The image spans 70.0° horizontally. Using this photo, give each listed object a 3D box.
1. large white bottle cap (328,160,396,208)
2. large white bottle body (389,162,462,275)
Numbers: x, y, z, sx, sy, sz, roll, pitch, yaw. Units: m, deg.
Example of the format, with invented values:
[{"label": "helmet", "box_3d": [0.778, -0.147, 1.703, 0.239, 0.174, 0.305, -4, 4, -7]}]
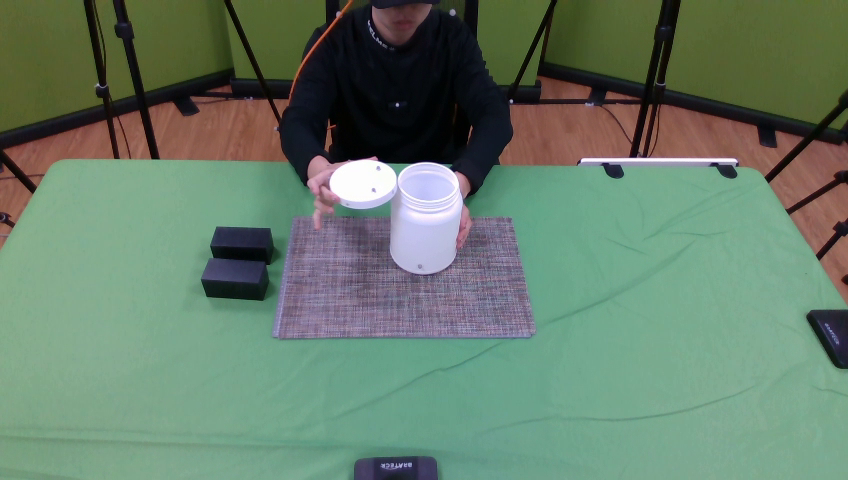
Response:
[{"label": "large white bottle cap", "box_3d": [-0.106, -0.097, 1.033, 0.115, 0.018, 0.114, -1, 44, 1]}, {"label": "large white bottle body", "box_3d": [0.001, -0.040, 1.119, 0.131, 0.185, 0.130, 2, 47, -2]}]
